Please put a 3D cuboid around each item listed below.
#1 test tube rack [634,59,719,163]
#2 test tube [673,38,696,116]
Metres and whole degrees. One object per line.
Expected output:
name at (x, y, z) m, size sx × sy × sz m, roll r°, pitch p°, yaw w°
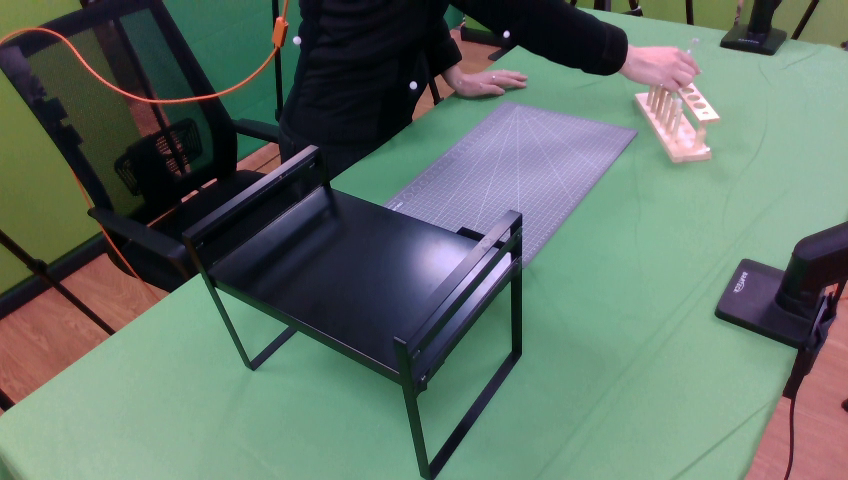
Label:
test tube rack at (0.471, -0.250, 1.148) m, size 0.067 × 0.085 × 0.241 m, roll -6°, pitch 40°, yaw 3°
test tube at (0.483, -0.301, 1.129) m, size 0.017 × 0.151 × 0.017 m, roll -2°, pitch 39°, yaw 2°
